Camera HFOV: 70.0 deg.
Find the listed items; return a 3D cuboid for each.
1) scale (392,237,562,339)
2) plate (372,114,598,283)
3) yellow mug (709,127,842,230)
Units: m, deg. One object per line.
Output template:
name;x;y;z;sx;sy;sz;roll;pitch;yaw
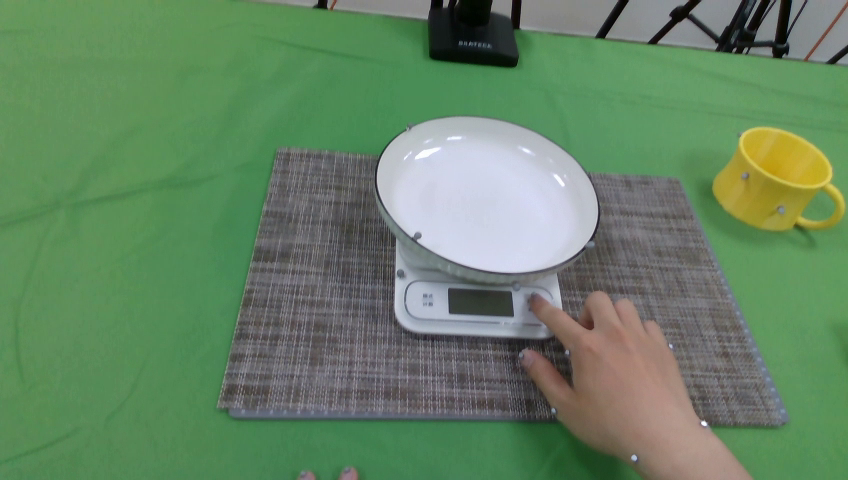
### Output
scale;0.046;0.000;0.569;0.149;0.032;0.199;4;48;-6
plate;0.054;-0.040;0.561;0.209;0.038;0.207;5;48;-5
yellow mug;0.390;-0.060;0.664;0.130;0.064;0.100;40;54;23
